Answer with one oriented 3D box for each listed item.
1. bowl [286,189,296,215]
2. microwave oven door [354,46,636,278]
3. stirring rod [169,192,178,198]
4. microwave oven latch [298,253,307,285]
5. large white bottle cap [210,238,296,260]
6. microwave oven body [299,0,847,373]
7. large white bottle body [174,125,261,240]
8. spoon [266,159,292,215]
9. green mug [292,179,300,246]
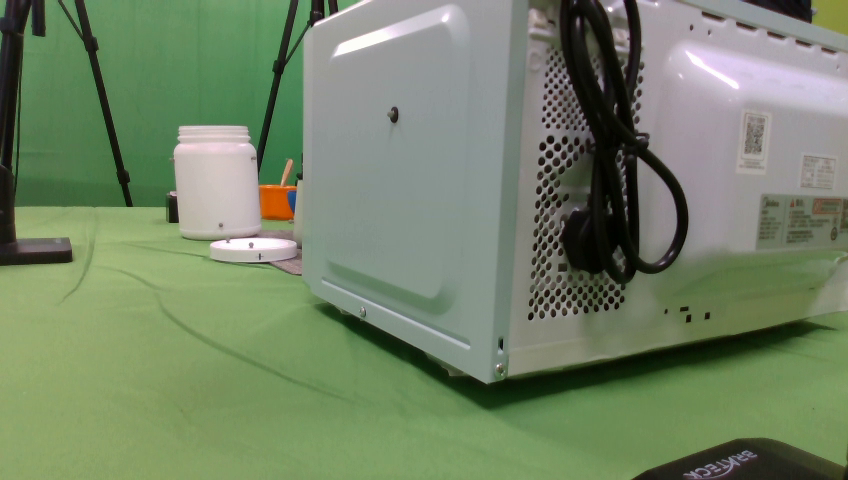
[{"bbox_3d":[-0.179,-0.051,1.115,0.151,0.077,0.151,3,8,0],"label":"bowl"},{"bbox_3d":[0.097,-0.083,0.712,0.357,0.243,0.039,-1,8,-23],"label":"microwave oven door"},{"bbox_3d":[-0.466,-0.098,1.283,0.014,0.006,0.177,42,22,17],"label":"stirring rod"},{"bbox_3d":[-0.081,0.027,0.583,0.079,0.029,0.030,-1,7,-32],"label":"microwave oven latch"},{"bbox_3d":[-0.236,0.012,0.839,0.115,0.018,0.115,1,8,0],"label":"large white bottle cap"},{"bbox_3d":[0.151,-0.055,0.543,0.444,0.260,0.324,-2,7,-33],"label":"microwave oven body"},{"bbox_3d":[-0.349,-0.100,1.025,0.131,0.184,0.130,-1,9,0],"label":"large white bottle body"},{"bbox_3d":[-0.334,-0.127,1.424,0.041,0.193,0.022,0,-38,6],"label":"spoon"},{"bbox_3d":[-0.142,-0.040,0.942,0.126,0.105,0.092,-2,8,-32],"label":"green mug"}]
